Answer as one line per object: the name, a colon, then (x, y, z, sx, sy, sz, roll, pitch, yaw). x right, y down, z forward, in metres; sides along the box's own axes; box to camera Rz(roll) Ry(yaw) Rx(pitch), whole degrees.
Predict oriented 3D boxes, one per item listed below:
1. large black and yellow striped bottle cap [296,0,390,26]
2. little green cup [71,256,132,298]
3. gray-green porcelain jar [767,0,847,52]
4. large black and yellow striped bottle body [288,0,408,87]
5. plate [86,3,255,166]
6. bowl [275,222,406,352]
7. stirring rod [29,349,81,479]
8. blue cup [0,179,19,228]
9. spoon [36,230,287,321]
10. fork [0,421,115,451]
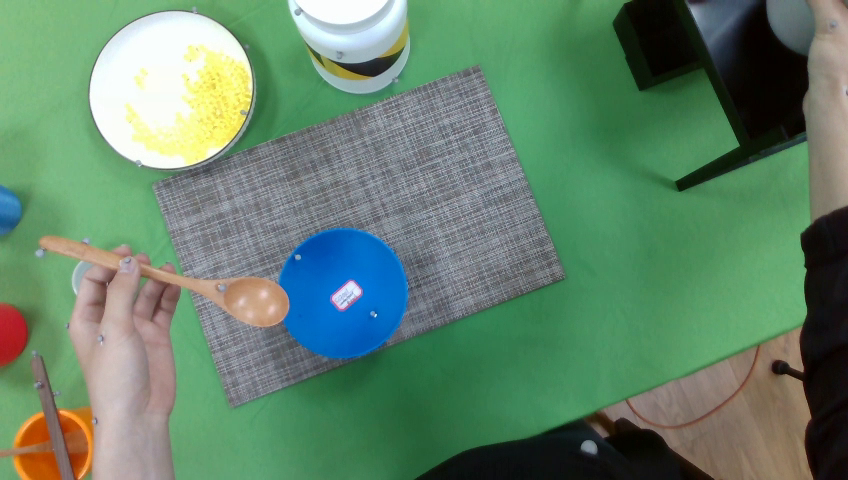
large black and yellow striped bottle cap: (-0.084, -0.279, 0.624, 0.115, 0.019, 0.114, 0, 85, 1)
little green cup: (-0.395, 0.042, 0.748, 0.061, 0.038, 0.061, 0, 85, 0)
gray-green porcelain jar: (0.381, -0.235, 0.538, 0.106, 0.126, 0.105, 0, 86, 1)
large black and yellow striped bottle body: (-0.086, -0.271, 0.708, 0.131, 0.184, 0.130, 0, 84, 0)
plate: (-0.317, -0.194, 0.771, 0.209, 0.038, 0.208, 0, 85, -1)
bowl: (-0.096, 0.057, 0.728, 0.151, 0.077, 0.151, 0, 85, 0)
stirring rod: (-0.410, 0.205, 0.675, 0.014, 0.006, 0.175, -20, 86, -2)
blue cup: (-0.545, -0.049, 0.722, 0.092, 0.100, 0.092, 0, 85, 1)
spoon: (-0.207, 0.025, 0.490, 0.195, 0.021, 0.041, 19, 92, -21)
fork: (-0.459, 0.228, 0.675, 0.209, 0.018, 0.028, 4, 85, -44)
